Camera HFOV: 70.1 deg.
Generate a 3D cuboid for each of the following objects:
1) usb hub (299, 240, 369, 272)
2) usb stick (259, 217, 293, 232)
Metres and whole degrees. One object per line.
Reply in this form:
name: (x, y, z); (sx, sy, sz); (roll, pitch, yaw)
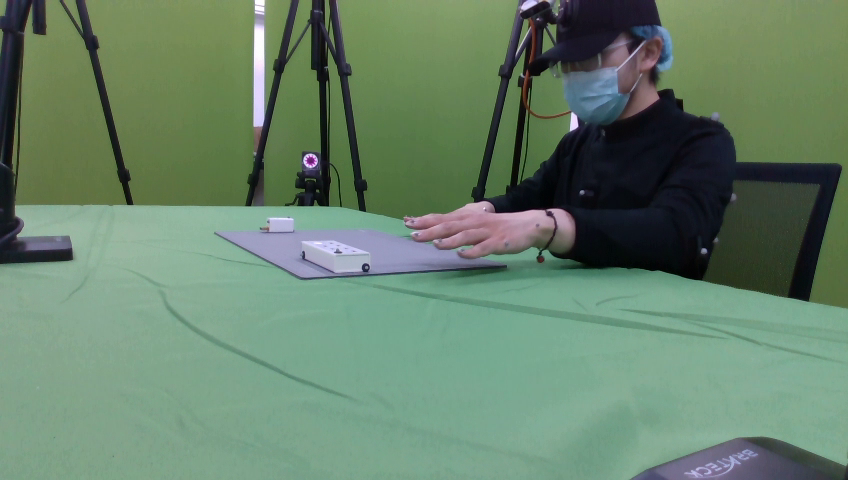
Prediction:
usb hub: (-0.119, 0.019, 0.782); (0.050, 0.025, 0.124); (-2, 8, -31)
usb stick: (-0.268, -0.028, 1.093); (0.059, 0.027, 0.021); (-5, 12, -32)
